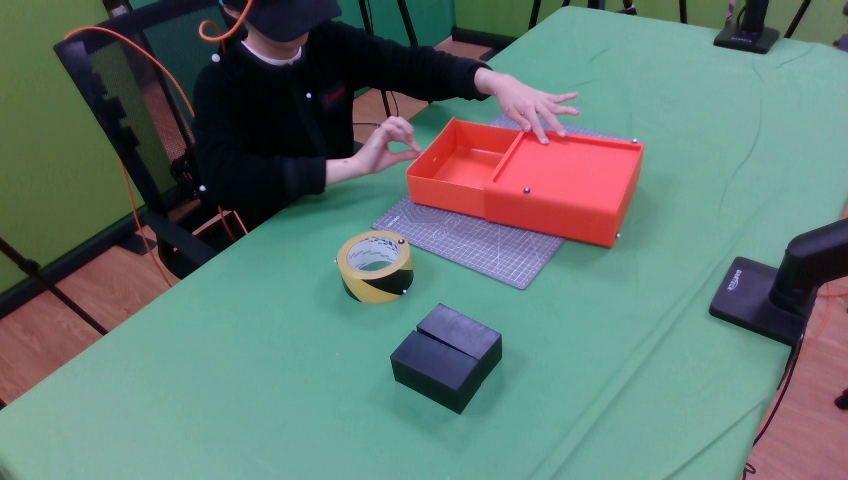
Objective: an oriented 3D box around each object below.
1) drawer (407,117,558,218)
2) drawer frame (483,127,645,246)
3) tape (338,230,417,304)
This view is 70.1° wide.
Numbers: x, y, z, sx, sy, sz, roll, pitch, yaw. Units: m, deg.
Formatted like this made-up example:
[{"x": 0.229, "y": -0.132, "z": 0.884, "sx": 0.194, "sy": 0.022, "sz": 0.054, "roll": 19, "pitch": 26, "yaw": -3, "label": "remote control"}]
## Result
[{"x": 0.108, "y": -0.126, "z": 1.059, "sx": 0.210, "sy": 0.073, "sz": 0.194, "roll": 14, "pitch": 44, "yaw": 24, "label": "drawer"}, {"x": 0.234, "y": -0.096, "z": 1.003, "sx": 0.212, "sy": 0.083, "sz": 0.202, "roll": 13, "pitch": 44, "yaw": 22, "label": "drawer frame"}, {"x": -0.069, "y": 0.041, "z": 0.917, "sx": 0.117, "sy": 0.053, "sz": 0.116, "roll": -4, "pitch": 41, "yaw": 4, "label": "tape"}]
